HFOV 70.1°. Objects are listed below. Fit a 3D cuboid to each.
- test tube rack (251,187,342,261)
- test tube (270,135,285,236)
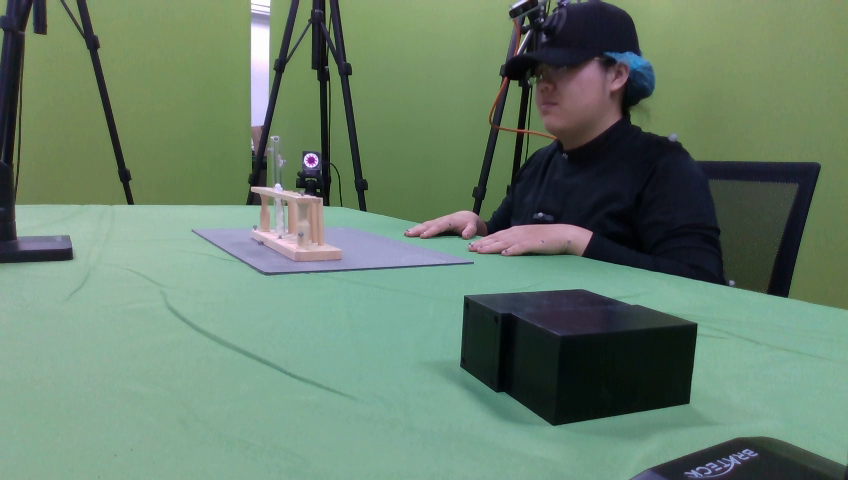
[{"bbox_3d":[-0.196,-0.030,0.902,0.067,0.085,0.241,-2,8,-29],"label":"test tube rack"},{"bbox_3d":[-0.218,-0.081,0.904,0.017,0.150,0.017,-2,4,0],"label":"test tube"}]
